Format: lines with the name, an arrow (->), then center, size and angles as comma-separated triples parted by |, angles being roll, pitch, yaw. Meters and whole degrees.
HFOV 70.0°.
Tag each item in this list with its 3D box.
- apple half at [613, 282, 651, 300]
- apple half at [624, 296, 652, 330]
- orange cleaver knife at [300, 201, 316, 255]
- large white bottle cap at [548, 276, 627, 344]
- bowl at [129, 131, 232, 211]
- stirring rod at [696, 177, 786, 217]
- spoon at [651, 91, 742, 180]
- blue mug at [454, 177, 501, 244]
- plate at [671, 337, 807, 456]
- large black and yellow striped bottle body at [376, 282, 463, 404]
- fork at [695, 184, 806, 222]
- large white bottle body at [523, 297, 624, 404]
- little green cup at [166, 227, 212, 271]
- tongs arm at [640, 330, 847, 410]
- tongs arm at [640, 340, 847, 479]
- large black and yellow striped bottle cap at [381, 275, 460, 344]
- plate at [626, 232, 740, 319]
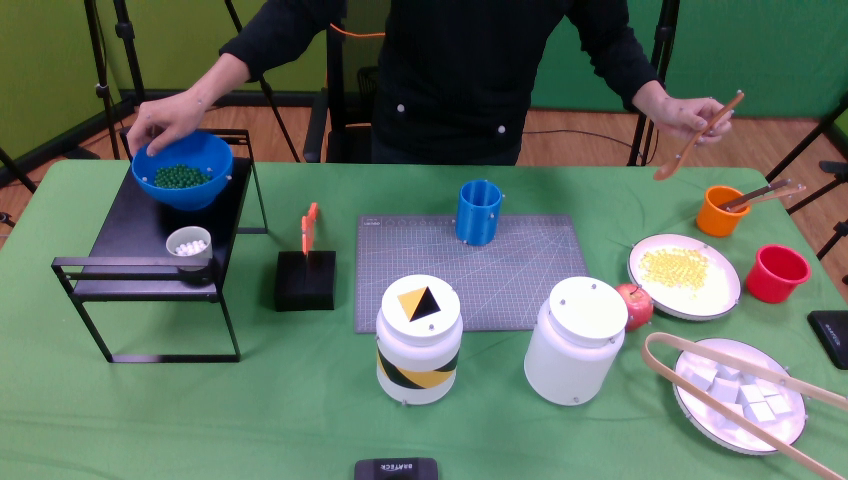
apple half -> 0.356, 0.109, 1.086 | 0.081, 0.075, 0.053 | -14, 45, -12
apple half -> 0.368, 0.135, 1.060 | 0.081, 0.081, 0.032 | -11, 43, -15
orange cleaver knife -> -0.221, -0.027, 1.160 | 0.012, 0.077, 0.210 | -1, 15, -4
large white bottle cap -> 0.240, 0.100, 0.890 | 0.115, 0.018, 0.114 | 3, 47, -3
bowl -> -0.381, -0.100, 0.973 | 0.151, 0.077, 0.150 | 4, 45, -4
stirring rod -> 0.648, -0.087, 1.244 | 0.176, 0.006, 0.014 | -25, 51, 29
spoon -> 0.449, -0.170, 1.006 | 0.022, 0.194, 0.041 | 27, 39, -6
blue mug -> 0.106, -0.067, 1.208 | 0.082, 0.106, 0.116 | 6, 46, 1
plate -> 0.503, 0.254, 0.984 | 0.208, 0.039, 0.206 | 2, 46, -2
large black and yellow striped bottle body -> -0.010, 0.155, 0.937 | 0.131, 0.185, 0.130 | 2, 47, -2
fork -> 0.658, -0.074, 1.230 | 0.207, 0.019, 0.028 | -24, 33, 36
large white bottle body -> 0.235, 0.159, 0.952 | 0.131, 0.185, 0.130 | 2, 47, -2
little green cup -> -0.344, 0.014, 0.895 | 0.061, 0.039, 0.061 | 3, 46, -3
tongs arm -> 0.543, 0.225, 0.969 | 0.384, 0.026, 0.050 | 22, 52, 13
tongs arm -> 0.500, 0.277, 0.919 | 0.386, 0.028, 0.028 | 34, 59, 22
large black and yellow striped bottle cap -> -0.005, 0.098, 0.875 | 0.115, 0.019, 0.114 | 2, 45, -2
plate -> 0.488, 0.071, 1.157 | 0.209, 0.038, 0.208 | 3, 46, -3
